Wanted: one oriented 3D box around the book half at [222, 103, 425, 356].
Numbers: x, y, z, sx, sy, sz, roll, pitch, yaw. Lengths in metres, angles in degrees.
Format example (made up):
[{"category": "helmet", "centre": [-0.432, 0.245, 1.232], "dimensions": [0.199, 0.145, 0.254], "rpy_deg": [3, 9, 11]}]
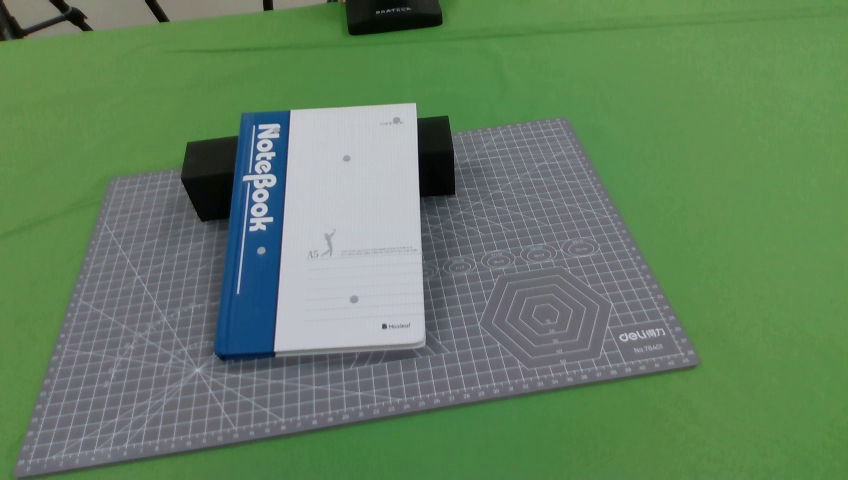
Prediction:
[{"category": "book half", "centre": [-0.074, -0.017, 0.464], "dimensions": [0.143, 0.007, 0.208], "rpy_deg": [-3, 64, 1]}]
